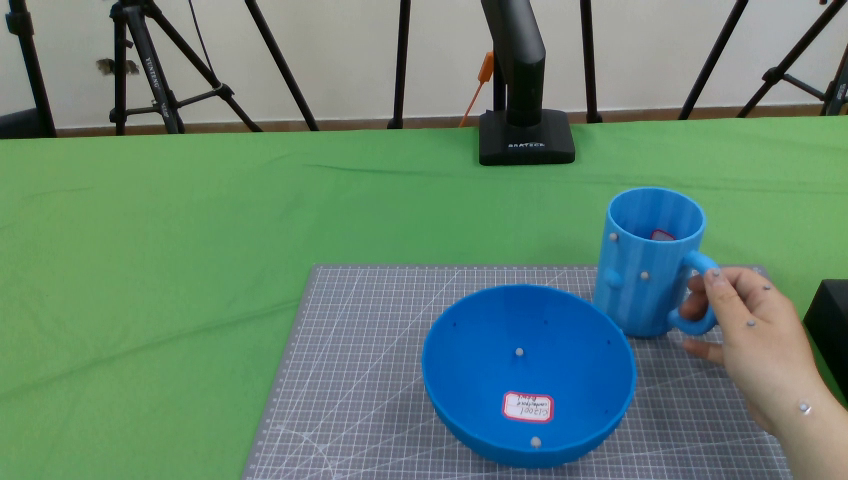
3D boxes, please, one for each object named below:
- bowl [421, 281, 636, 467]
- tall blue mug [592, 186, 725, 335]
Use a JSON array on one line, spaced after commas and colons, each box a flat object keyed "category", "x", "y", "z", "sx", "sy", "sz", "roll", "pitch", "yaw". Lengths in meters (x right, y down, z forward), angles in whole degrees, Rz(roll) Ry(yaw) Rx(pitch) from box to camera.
[{"category": "bowl", "x": 0.075, "y": 0.110, "z": 0.452, "sx": 0.151, "sy": 0.077, "sz": 0.150, "roll": -3, "pitch": 40, "yaw": 2}, {"category": "tall blue mug", "x": 0.204, "y": 0.023, "z": 0.518, "sx": 0.106, "sy": 0.109, "sz": 0.077, "roll": 19, "pitch": 45, "yaw": 25}]
